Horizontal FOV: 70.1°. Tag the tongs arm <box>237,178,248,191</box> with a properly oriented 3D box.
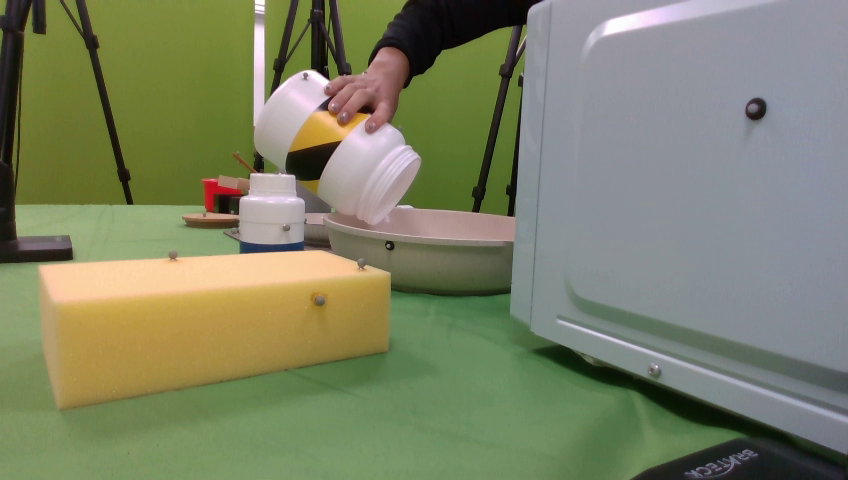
[{"bbox_3d":[-0.241,-0.095,1.374,0.387,0.026,0.050,9,1,-37],"label":"tongs arm"}]

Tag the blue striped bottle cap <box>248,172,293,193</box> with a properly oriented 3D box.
[{"bbox_3d":[-0.152,-0.057,0.598,0.044,0.020,0.044,3,7,0],"label":"blue striped bottle cap"}]

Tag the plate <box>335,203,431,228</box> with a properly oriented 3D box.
[{"bbox_3d":[-0.089,-0.053,1.309,0.208,0.039,0.207,2,8,0],"label":"plate"}]

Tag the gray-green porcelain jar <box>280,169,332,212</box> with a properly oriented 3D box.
[{"bbox_3d":[-0.238,-0.092,1.221,0.106,0.126,0.106,2,7,0],"label":"gray-green porcelain jar"}]

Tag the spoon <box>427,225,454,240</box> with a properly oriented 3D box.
[{"bbox_3d":[0.024,-0.019,1.125,0.042,0.021,0.193,-15,9,-4],"label":"spoon"}]

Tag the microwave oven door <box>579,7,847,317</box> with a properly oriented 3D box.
[{"bbox_3d":[0.294,-0.067,0.570,0.358,0.243,0.039,-3,9,-31],"label":"microwave oven door"}]

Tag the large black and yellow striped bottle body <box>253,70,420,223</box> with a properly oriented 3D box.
[{"bbox_3d":[-0.109,-0.117,0.779,0.184,0.130,0.131,35,13,6],"label":"large black and yellow striped bottle body"}]

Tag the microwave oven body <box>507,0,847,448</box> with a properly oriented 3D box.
[{"bbox_3d":[0.331,-0.042,0.425,0.444,0.260,0.324,-2,8,-31],"label":"microwave oven body"}]

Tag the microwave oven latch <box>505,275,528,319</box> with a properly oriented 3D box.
[{"bbox_3d":[0.100,0.042,0.471,0.079,0.029,0.030,-1,7,-29],"label":"microwave oven latch"}]

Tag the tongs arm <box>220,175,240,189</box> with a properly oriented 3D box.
[{"bbox_3d":[-0.285,-0.105,1.445,0.389,0.027,0.028,10,-3,-23],"label":"tongs arm"}]

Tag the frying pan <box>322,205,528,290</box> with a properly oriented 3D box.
[{"bbox_3d":[0.109,-0.017,0.800,0.490,0.102,0.305,-12,16,-30],"label":"frying pan"}]

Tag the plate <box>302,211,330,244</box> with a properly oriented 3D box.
[{"bbox_3d":[-0.139,-0.022,1.021,0.209,0.038,0.209,2,8,0],"label":"plate"}]

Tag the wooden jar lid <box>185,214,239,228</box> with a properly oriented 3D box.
[{"bbox_3d":[-0.404,-0.037,1.169,0.108,0.020,0.108,3,7,0],"label":"wooden jar lid"}]

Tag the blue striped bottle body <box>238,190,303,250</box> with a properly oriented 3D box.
[{"bbox_3d":[-0.153,-0.007,0.605,0.063,0.120,0.063,2,8,0],"label":"blue striped bottle body"}]

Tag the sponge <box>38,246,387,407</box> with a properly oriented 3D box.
[{"bbox_3d":[-0.142,0.047,0.420,0.208,0.061,0.117,-4,10,-37],"label":"sponge"}]

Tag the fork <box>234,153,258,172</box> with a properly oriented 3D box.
[{"bbox_3d":[-0.396,-0.143,1.486,0.028,0.018,0.208,20,-26,45],"label":"fork"}]
